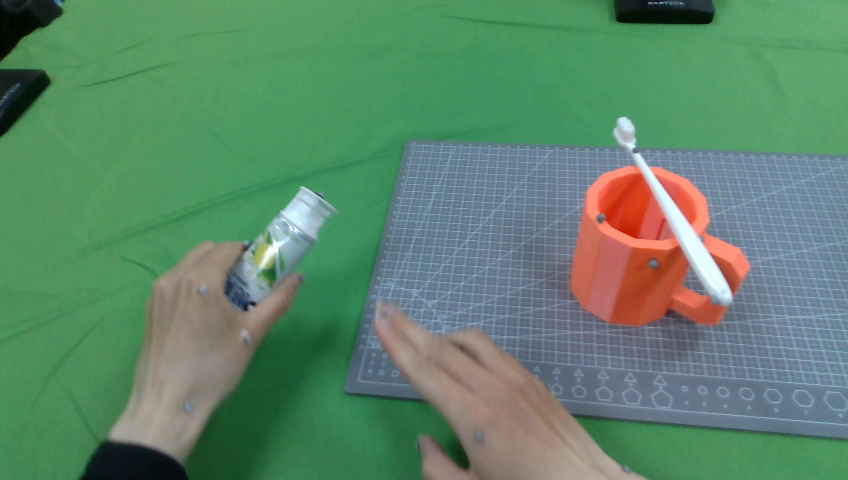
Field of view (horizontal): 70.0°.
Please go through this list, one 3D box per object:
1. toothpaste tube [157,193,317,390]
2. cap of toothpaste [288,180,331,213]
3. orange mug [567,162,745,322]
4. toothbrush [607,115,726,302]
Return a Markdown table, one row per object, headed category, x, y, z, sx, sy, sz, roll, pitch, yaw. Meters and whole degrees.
| category | x | y | z | sx | sy | sz | roll | pitch | yaw |
| --- | --- | --- | --- | --- | --- | --- | --- | --- | --- |
| toothpaste tube | -0.138 | 0.031 | 0.461 | 0.054 | 0.035 | 0.165 | 36 | 87 | 27 |
| cap of toothpaste | -0.088 | -0.032 | 0.463 | 0.037 | 0.038 | 0.011 | 28 | 81 | 26 |
| orange mug | 0.175 | 0.010 | 0.468 | 0.125 | 0.102 | 0.083 | 28 | 57 | 30 |
| toothbrush | 0.169 | -0.031 | 0.434 | 0.014 | 0.017 | 0.180 | -8 | 49 | -6 |
